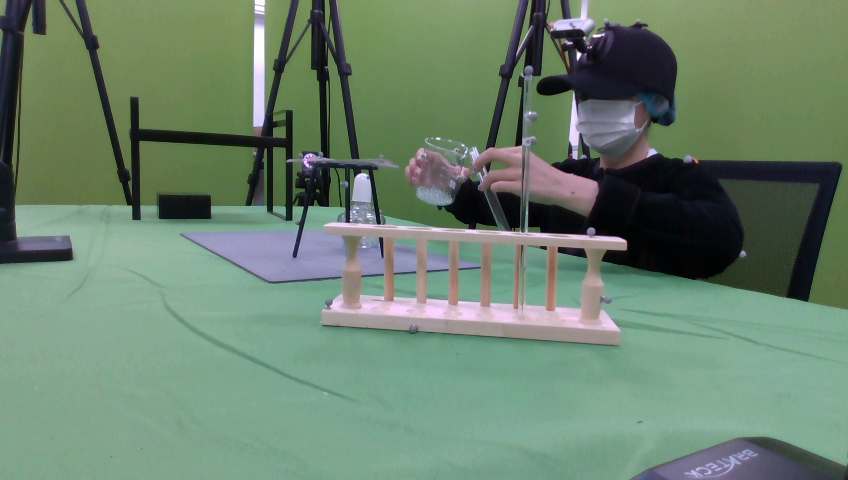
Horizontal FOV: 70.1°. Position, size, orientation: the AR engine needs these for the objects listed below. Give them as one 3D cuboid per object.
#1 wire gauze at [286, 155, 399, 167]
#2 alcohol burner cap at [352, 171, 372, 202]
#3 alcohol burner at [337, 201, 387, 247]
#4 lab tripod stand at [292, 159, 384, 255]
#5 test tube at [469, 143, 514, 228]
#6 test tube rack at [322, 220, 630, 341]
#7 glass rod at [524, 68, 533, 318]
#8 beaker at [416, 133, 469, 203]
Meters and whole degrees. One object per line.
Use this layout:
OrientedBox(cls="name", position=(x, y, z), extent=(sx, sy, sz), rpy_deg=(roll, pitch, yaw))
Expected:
OrientedBox(cls="wire gauze", position=(-0.101, -0.105, 0.788), extent=(0.121, 0.011, 0.125), rpy_deg=(4, 6, 6))
OrientedBox(cls="alcohol burner cap", position=(-0.096, -0.084, 0.951), extent=(0.034, 0.048, 0.034), rpy_deg=(6, 5, 0))
OrientedBox(cls="alcohol burner", position=(-0.098, -0.049, 0.954), extent=(0.078, 0.119, 0.078), rpy_deg=(0, 7, 0))
OrientedBox(cls="lab tripod stand", position=(-0.105, -0.039, 0.797), extent=(0.148, 0.131, 0.148), rpy_deg=(2, 5, 0))
OrientedBox(cls="test tube", position=(0.098, -0.074, 0.873), extent=(0.017, 0.150, 0.017), rpy_deg=(-19, -16, -5))
OrientedBox(cls="test tube rack", position=(0.041, 0.029, 0.512), extent=(0.242, 0.085, 0.067), rpy_deg=(3, 7, 5))
OrientedBox(cls="glass rod", position=(0.082, -0.031, 0.473), extent=(0.008, 0.199, 0.008), rpy_deg=(-2, 14, 1))
OrientedBox(cls="beaker", position=(0.030, -0.117, 1.004), extent=(0.074, 0.100, 0.083), rpy_deg=(-12, 33, -44))
